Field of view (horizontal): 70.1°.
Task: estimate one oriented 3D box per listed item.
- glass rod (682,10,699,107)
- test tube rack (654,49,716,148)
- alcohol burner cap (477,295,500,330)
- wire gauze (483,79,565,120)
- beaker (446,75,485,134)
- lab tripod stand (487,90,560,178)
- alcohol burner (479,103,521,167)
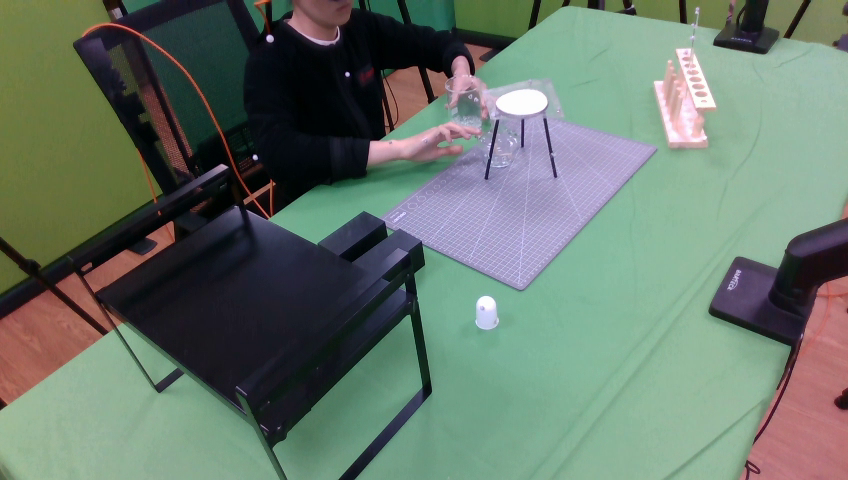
[{"bbox_3d":[0.501,-0.335,1.138,0.008,0.201,0.008,-7,45,7],"label":"glass rod"},{"bbox_3d":[0.502,-0.280,1.176,0.066,0.085,0.241,2,41,11],"label":"test tube rack"},{"bbox_3d":[0.089,0.098,0.833,0.034,0.048,0.033,-4,41,4],"label":"alcohol burner cap"},{"bbox_3d":[0.168,-0.238,1.034,0.125,0.011,0.121,-6,41,2],"label":"wire gauze"},{"bbox_3d":[0.088,-0.273,1.221,0.073,0.101,0.084,21,48,29],"label":"beaker"},{"bbox_3d":[0.175,-0.185,1.074,0.148,0.132,0.147,-5,43,5],"label":"lab tripod stand"},{"bbox_3d":[0.138,-0.195,1.107,0.078,0.119,0.077,-6,40,5],"label":"alcohol burner"}]
